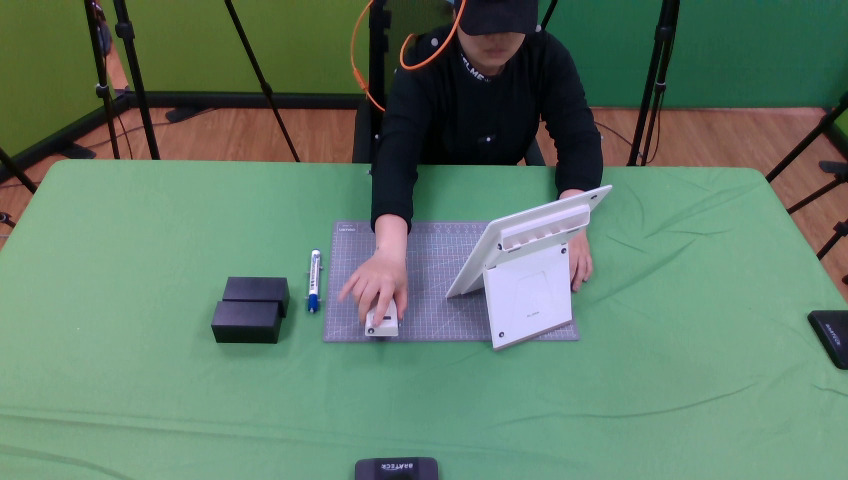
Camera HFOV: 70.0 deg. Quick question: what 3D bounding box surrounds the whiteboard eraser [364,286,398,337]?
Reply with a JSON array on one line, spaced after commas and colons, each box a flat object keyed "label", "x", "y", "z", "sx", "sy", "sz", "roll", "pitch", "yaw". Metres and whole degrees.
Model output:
[{"label": "whiteboard eraser", "x": -0.074, "y": 0.125, "z": 1.041, "sx": 0.056, "sy": 0.042, "sz": 0.112, "roll": 4, "pitch": 30, "yaw": -9}]

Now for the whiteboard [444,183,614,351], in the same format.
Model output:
[{"label": "whiteboard", "x": 0.186, "y": 0.065, "z": 0.990, "sx": 0.217, "sy": 0.306, "sz": 0.143, "roll": -16, "pitch": 69, "yaw": -19}]

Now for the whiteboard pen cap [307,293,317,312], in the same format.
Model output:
[{"label": "whiteboard pen cap", "x": -0.199, "y": 0.110, "z": 1.078, "sx": 0.018, "sy": 0.018, "sz": 0.033, "roll": -2, "pitch": 47, "yaw": -5}]

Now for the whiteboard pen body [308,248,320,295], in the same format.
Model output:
[{"label": "whiteboard pen body", "x": -0.204, "y": 0.069, "z": 1.119, "sx": 0.017, "sy": 0.017, "sz": 0.140, "roll": -1, "pitch": 46, "yaw": -5}]
